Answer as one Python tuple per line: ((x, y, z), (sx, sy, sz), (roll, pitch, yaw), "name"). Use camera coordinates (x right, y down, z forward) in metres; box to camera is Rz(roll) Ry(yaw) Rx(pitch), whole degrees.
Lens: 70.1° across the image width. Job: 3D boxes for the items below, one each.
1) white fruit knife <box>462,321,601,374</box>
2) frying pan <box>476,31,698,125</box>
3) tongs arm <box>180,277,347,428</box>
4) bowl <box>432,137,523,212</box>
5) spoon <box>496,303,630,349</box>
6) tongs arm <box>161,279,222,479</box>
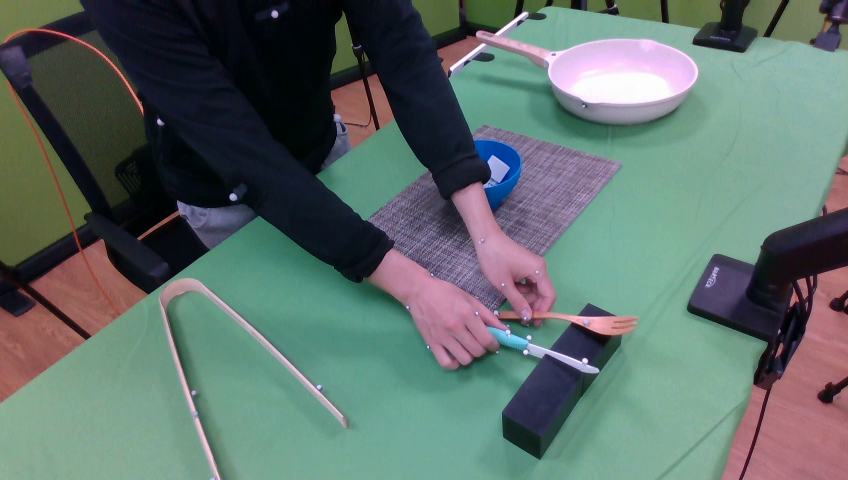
((0.126, 0.132, 0.752), (0.205, 0.027, 0.016), (12, 48, 42), "white fruit knife")
((0.321, -0.371, 1.290), (0.484, 0.103, 0.307), (29, 51, 23), "frying pan")
((-0.231, 0.142, 0.832), (0.384, 0.028, 0.028), (30, 55, 35), "tongs arm")
((0.091, -0.100, 1.022), (0.151, 0.077, 0.150), (-4, 41, 4), "bowl")
((0.170, 0.100, 0.772), (0.192, 0.022, 0.041), (11, 73, 39), "spoon")
((-0.296, 0.174, 0.797), (0.051, 0.026, 0.381), (-25, 42, -21), "tongs arm")
